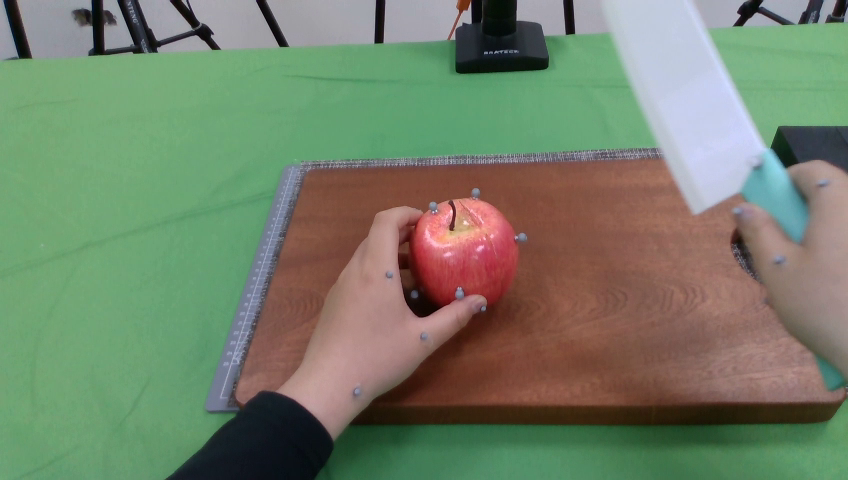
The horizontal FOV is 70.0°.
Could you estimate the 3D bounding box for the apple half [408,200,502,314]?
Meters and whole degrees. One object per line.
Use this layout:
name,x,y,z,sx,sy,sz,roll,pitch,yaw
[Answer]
apple half,0.016,0.018,0.440,0.053,0.075,0.080,-23,49,-11

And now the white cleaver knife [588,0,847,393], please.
white cleaver knife,0.173,-0.048,0.364,0.021,0.066,0.284,-9,70,-30

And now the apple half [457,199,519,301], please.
apple half,0.051,0.004,0.449,0.033,0.082,0.080,-23,45,-11
